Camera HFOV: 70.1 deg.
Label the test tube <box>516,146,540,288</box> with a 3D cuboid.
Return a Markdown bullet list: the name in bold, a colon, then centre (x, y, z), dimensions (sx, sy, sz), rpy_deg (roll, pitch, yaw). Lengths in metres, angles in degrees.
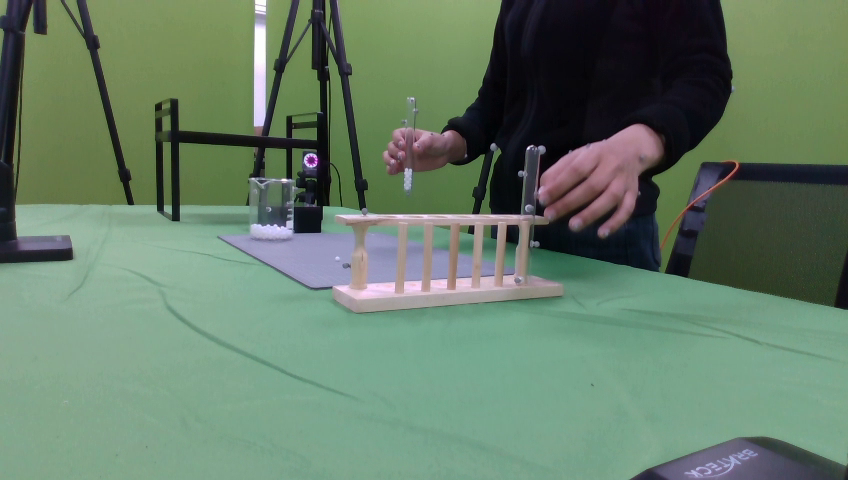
- **test tube**: centre (0.109, -0.024, 0.637), dimensions (0.017, 0.150, 0.017), rpy_deg (3, 6, 0)

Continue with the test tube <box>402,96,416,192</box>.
- **test tube**: centre (-0.024, -0.151, 0.962), dimensions (0.017, 0.150, 0.017), rpy_deg (3, 13, 0)

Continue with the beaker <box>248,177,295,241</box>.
- **beaker**: centre (-0.252, -0.051, 0.992), dimensions (0.074, 0.100, 0.084), rpy_deg (3, 9, 6)

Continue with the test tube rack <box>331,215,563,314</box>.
- **test tube rack**: centre (0.031, 0.019, 0.625), dimensions (0.243, 0.085, 0.066), rpy_deg (-1, 8, -28)
